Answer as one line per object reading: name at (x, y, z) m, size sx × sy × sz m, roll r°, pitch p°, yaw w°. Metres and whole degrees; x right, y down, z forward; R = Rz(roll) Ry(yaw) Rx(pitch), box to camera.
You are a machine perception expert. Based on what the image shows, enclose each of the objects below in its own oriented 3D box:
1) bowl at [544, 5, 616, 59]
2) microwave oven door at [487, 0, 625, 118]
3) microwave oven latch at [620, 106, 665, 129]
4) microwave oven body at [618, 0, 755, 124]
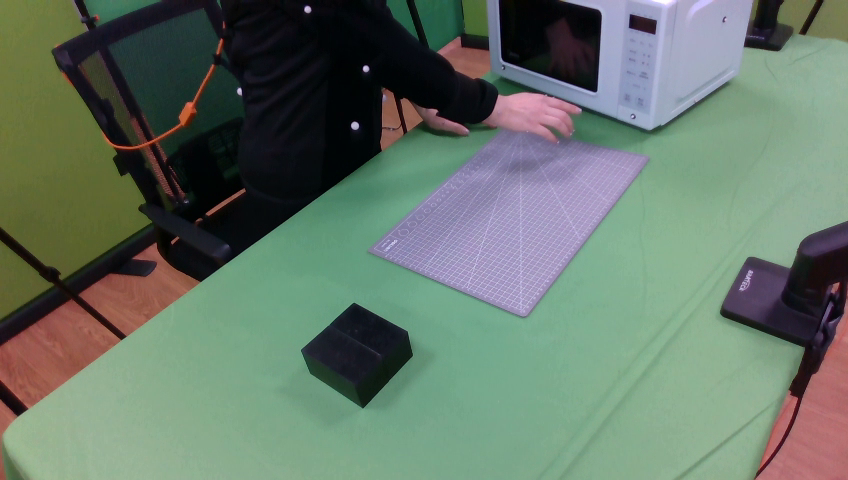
bowl at (0.332, -0.441, 1.302) m, size 0.151 × 0.077 × 0.150 m, roll -3°, pitch 40°, yaw 3°
microwave oven door at (0.262, -0.410, 1.222) m, size 0.039 × 0.245 × 0.352 m, roll -33°, pitch 45°, yaw -25°
microwave oven latch at (0.413, -0.237, 1.146) m, size 0.030 × 0.029 × 0.078 m, roll -32°, pitch 44°, yaw -23°
microwave oven body at (0.402, -0.458, 1.259) m, size 0.327 × 0.261 × 0.437 m, roll -33°, pitch 45°, yaw -24°
